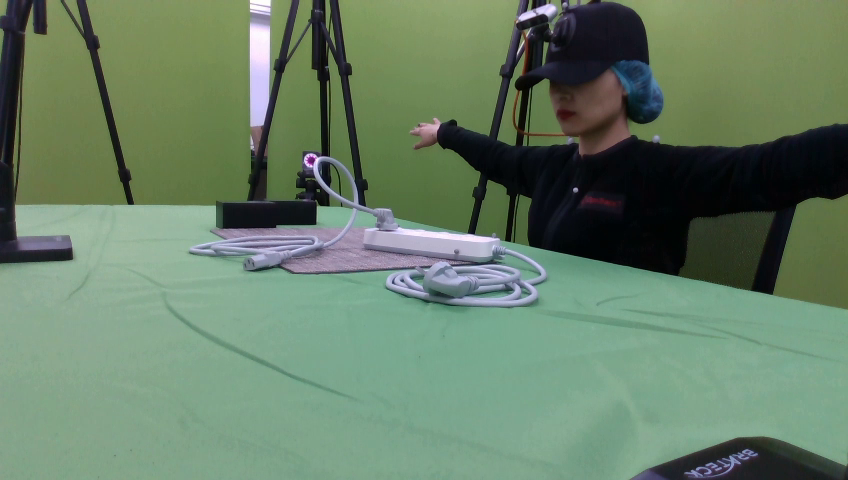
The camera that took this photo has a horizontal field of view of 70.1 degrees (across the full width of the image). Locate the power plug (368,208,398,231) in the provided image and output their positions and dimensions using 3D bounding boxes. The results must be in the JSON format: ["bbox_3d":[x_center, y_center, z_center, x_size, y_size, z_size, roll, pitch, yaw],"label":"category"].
[{"bbox_3d":[-0.069,-0.023,0.915,0.035,0.052,0.073,9,9,39],"label":"power plug"}]

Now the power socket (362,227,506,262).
[{"bbox_3d":[0.009,0.004,0.909,0.226,0.032,0.072,7,9,28],"label":"power socket"}]
